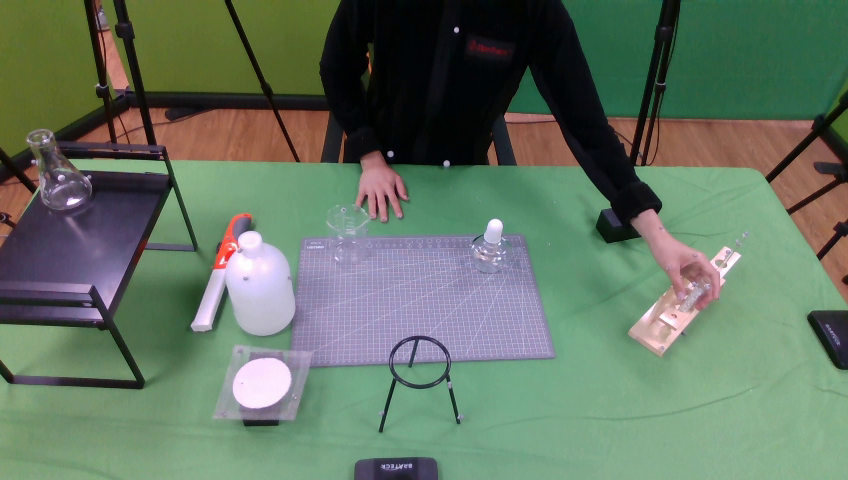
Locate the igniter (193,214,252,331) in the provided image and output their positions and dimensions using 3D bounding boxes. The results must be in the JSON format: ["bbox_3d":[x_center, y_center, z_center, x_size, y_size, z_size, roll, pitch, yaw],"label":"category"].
[{"bbox_3d":[-0.368,0.050,1.119,0.057,0.025,0.275,-3,46,8],"label":"igniter"}]

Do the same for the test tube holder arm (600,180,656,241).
[{"bbox_3d":[0.408,-0.062,1.219,0.013,0.015,0.177,-24,51,-11],"label":"test tube holder arm"}]

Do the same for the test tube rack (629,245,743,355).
[{"bbox_3d":[0.474,0.095,1.091,0.242,0.085,0.066,-34,56,-31],"label":"test tube rack"}]

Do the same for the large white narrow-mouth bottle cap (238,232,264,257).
[{"bbox_3d":[-0.266,0.006,0.932,0.038,0.024,0.037,2,46,-2],"label":"large white narrow-mouth bottle cap"}]

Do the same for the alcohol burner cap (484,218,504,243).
[{"bbox_3d":[0.130,-0.021,1.106,0.034,0.048,0.033,3,51,-4],"label":"alcohol burner cap"}]

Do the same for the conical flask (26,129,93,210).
[{"bbox_3d":[-0.575,-0.113,0.946,0.075,0.122,0.075,2,46,-2],"label":"conical flask"}]

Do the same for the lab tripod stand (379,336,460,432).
[{"bbox_3d":[-0.010,0.214,0.911,0.148,0.132,0.147,1,45,-1],"label":"lab tripod stand"}]

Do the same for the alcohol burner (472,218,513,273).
[{"bbox_3d":[0.128,0.005,1.132,0.078,0.120,0.077,0,47,0],"label":"alcohol burner"}]

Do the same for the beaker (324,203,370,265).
[{"bbox_3d":[-0.142,-0.009,1.137,0.084,0.101,0.073,-3,47,-7],"label":"beaker"}]

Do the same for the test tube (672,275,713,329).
[{"bbox_3d":[0.438,0.107,1.007,0.017,0.151,0.017,4,51,-4],"label":"test tube"}]

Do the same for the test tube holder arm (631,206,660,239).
[{"bbox_3d":[0.432,-0.035,1.192,0.010,0.015,0.087,-24,51,-11],"label":"test tube holder arm"}]

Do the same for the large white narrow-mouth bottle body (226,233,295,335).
[{"bbox_3d":[-0.270,0.065,0.995,0.102,0.195,0.101,2,46,-2],"label":"large white narrow-mouth bottle body"}]

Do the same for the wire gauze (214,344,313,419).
[{"bbox_3d":[-0.241,0.213,0.915,0.121,0.011,0.124,5,46,1],"label":"wire gauze"}]

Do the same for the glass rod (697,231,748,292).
[{"bbox_3d":[0.514,0.044,1.051,0.008,0.200,0.008,1,55,-1],"label":"glass rod"}]
